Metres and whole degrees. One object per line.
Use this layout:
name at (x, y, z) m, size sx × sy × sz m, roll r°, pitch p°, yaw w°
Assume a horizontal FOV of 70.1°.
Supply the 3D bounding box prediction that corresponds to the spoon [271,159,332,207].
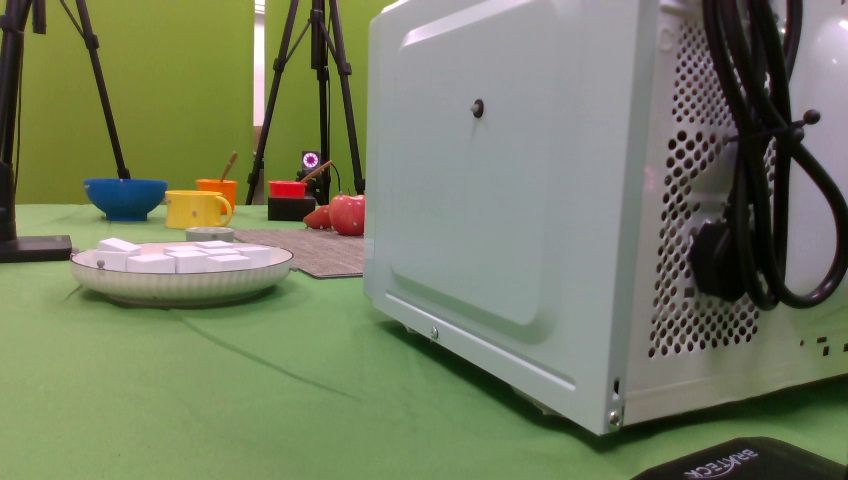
spoon at (-0.308, -0.142, 1.514) m, size 0.193 × 0.021 × 0.041 m, roll -41°, pitch 5°, yaw 8°

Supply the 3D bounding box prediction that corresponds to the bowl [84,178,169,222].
bowl at (-0.584, -0.078, 1.194) m, size 0.151 × 0.077 × 0.151 m, roll 3°, pitch 8°, yaw 0°

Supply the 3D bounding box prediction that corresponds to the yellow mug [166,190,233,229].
yellow mug at (-0.415, -0.057, 1.132) m, size 0.130 × 0.064 × 0.100 m, roll 6°, pitch 8°, yaw 16°

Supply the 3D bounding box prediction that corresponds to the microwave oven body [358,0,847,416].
microwave oven body at (0.211, -0.047, 0.474) m, size 0.444 × 0.260 × 0.324 m, roll -1°, pitch 7°, yaw -28°

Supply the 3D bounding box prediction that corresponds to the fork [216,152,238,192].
fork at (-0.455, -0.132, 1.367) m, size 0.028 × 0.018 × 0.207 m, roll -2°, pitch -35°, yaw -37°

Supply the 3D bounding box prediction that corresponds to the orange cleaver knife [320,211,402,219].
orange cleaver knife at (-0.142, -0.057, 1.394) m, size 0.077 × 0.012 × 0.212 m, roll 3°, pitch 7°, yaw 44°

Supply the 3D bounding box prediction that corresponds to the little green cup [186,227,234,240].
little green cup at (-0.284, 0.005, 0.805) m, size 0.061 × 0.038 × 0.061 m, roll 2°, pitch 8°, yaw 0°

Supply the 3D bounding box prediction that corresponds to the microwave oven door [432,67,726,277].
microwave oven door at (0.181, -0.093, 0.777) m, size 0.354 × 0.243 × 0.039 m, roll 6°, pitch 9°, yaw 26°

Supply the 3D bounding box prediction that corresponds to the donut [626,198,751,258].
donut at (0.225, -0.010, 0.520) m, size 0.099 × 0.048 × 0.099 m, roll 5°, pitch 5°, yaw 0°

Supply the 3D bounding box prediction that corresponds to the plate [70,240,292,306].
plate at (-0.241, 0.032, 0.618) m, size 0.208 × 0.039 × 0.207 m, roll 2°, pitch 8°, yaw 0°

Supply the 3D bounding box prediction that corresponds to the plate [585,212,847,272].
plate at (0.242, -0.002, 0.511) m, size 0.209 × 0.038 × 0.209 m, roll 2°, pitch 5°, yaw 0°

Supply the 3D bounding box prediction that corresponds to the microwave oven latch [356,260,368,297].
microwave oven latch at (-0.020, 0.033, 0.530) m, size 0.079 × 0.029 × 0.030 m, roll -1°, pitch 7°, yaw -27°

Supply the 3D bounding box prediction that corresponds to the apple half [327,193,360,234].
apple half at (-0.132, -0.047, 1.087) m, size 0.081 × 0.074 × 0.053 m, roll 4°, pitch 11°, yaw -13°

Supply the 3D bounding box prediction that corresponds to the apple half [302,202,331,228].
apple half at (-0.192, -0.043, 1.169) m, size 0.081 × 0.032 × 0.081 m, roll -23°, pitch -12°, yaw -5°
